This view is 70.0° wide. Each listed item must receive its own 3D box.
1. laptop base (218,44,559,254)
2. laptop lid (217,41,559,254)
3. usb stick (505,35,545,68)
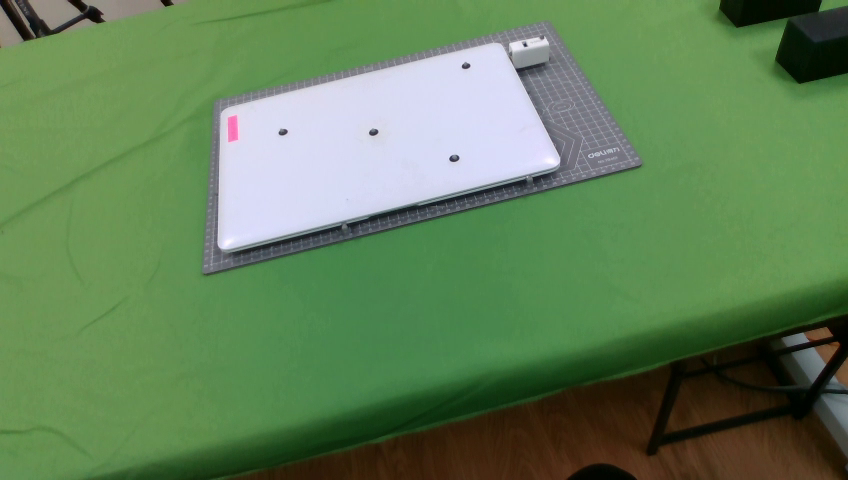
[{"bbox_3d":[-0.055,-0.110,0.677,0.354,0.023,0.233,-15,52,-1],"label":"laptop base"},{"bbox_3d":[-0.056,-0.116,0.667,0.357,0.013,0.239,-13,51,0],"label":"laptop lid"},{"bbox_3d":[0.114,-0.223,0.724,0.059,0.027,0.021,-15,48,1],"label":"usb stick"}]
